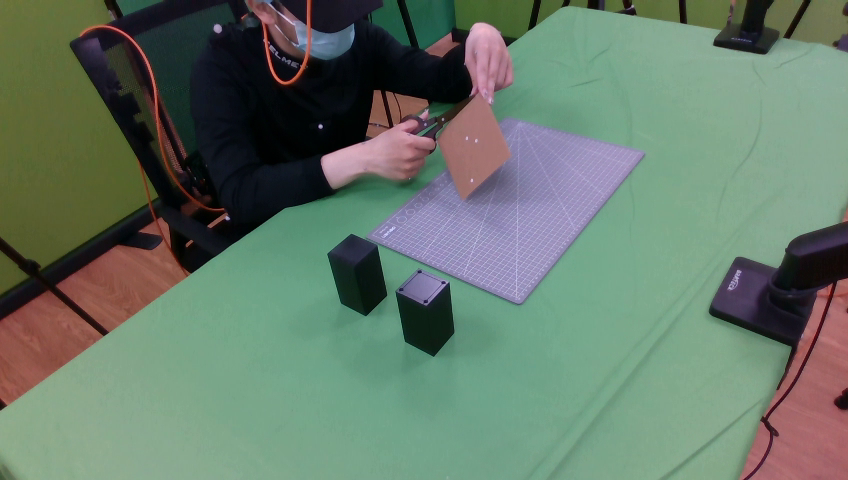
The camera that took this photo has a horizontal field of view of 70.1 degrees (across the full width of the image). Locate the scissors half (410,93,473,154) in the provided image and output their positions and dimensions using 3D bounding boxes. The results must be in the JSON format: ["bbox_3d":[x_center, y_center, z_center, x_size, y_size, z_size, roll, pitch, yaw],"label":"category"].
[{"bbox_3d":[0.032,-0.204,1.060,0.040,0.174,0.013,41,46,-7],"label":"scissors half"}]

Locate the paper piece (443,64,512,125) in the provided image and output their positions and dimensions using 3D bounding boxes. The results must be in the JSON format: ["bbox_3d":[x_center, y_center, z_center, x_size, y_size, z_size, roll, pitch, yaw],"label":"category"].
[{"bbox_3d":[0.088,-0.255,1.091,0.008,0.135,0.138,51,43,-5],"label":"paper piece"}]

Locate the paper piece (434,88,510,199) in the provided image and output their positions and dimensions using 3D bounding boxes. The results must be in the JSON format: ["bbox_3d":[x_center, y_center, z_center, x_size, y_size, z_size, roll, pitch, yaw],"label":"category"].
[{"bbox_3d":[0.077,-0.159,1.011,0.004,0.135,0.135,-2,63,-40],"label":"paper piece"}]

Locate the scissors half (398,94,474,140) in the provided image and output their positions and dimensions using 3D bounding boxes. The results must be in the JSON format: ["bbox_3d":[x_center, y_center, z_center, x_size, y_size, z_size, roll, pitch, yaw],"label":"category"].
[{"bbox_3d":[0.018,-0.218,1.055,0.174,0.040,0.013,-19,31,38],"label":"scissors half"}]
